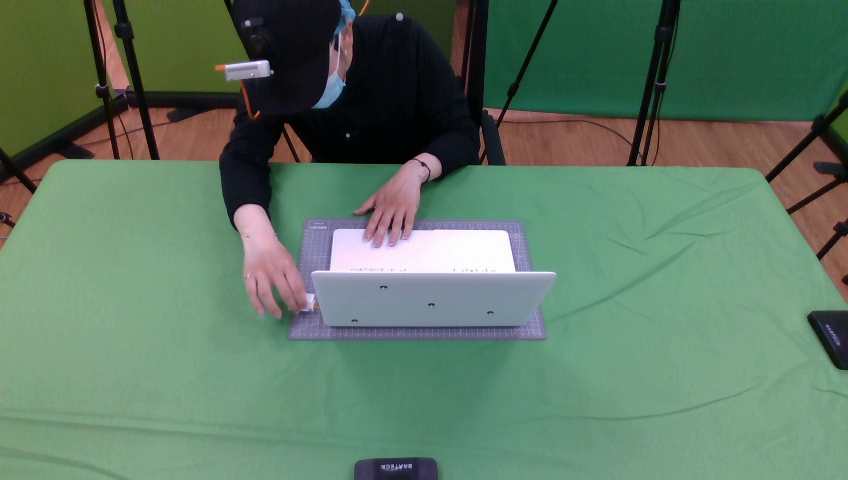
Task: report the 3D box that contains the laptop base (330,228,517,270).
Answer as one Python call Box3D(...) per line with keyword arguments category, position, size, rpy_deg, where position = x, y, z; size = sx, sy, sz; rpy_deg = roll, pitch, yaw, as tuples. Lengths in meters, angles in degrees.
Box3D(category="laptop base", position=(0.001, 0.064, 1.134), size=(0.354, 0.023, 0.234), rpy_deg=(0, 43, -3))

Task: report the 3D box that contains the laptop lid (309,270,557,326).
Box3D(category="laptop lid", position=(0.011, 0.096, 0.948), size=(0.357, 0.242, 0.013), rpy_deg=(1, 64, -4))

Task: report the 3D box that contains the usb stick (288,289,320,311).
Box3D(category="usb stick", position=(-0.204, 0.106, 1.054), size=(0.059, 0.027, 0.021), rpy_deg=(17, 32, -9))
